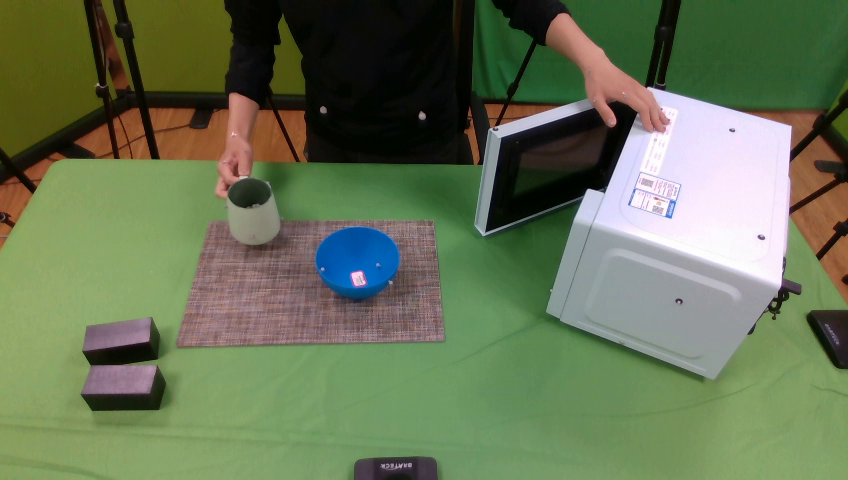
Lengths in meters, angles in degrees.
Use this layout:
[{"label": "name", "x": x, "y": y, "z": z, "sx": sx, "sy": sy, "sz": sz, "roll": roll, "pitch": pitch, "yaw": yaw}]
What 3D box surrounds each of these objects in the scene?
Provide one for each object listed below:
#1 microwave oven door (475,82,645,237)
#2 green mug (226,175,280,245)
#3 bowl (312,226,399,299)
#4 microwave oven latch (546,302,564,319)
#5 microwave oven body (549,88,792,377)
[{"label": "microwave oven door", "x": 0.268, "y": -0.160, "z": 1.193, "sx": 0.356, "sy": 0.245, "sz": 0.039, "roll": -21, "pitch": 50, "yaw": -22}, {"label": "green mug", "x": -0.324, "y": -0.063, "z": 1.130, "sx": 0.092, "sy": 0.105, "sz": 0.124, "roll": -15, "pitch": 54, "yaw": -18}, {"label": "bowl", "x": -0.120, "y": 0.054, "z": 1.091, "sx": 0.151, "sy": 0.077, "sz": 0.150, "roll": 2, "pitch": 46, "yaw": -2}, {"label": "microwave oven latch", "x": 0.242, "y": 0.102, "z": 1.081, "sx": 0.030, "sy": 0.029, "sz": 0.079, "roll": 22, "pitch": 48, "yaw": 17}, {"label": "microwave oven body", "x": 0.456, "y": -0.028, "z": 1.088, "sx": 0.325, "sy": 0.261, "sz": 0.440, "roll": 20, "pitch": 47, "yaw": 16}]
